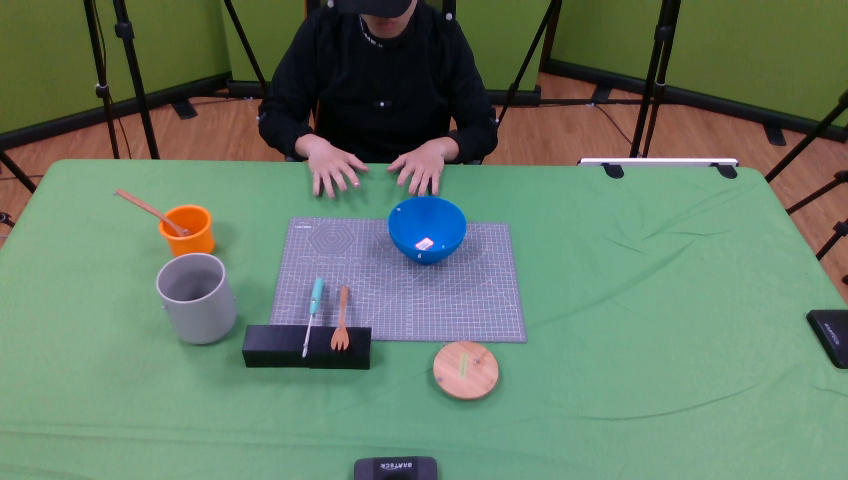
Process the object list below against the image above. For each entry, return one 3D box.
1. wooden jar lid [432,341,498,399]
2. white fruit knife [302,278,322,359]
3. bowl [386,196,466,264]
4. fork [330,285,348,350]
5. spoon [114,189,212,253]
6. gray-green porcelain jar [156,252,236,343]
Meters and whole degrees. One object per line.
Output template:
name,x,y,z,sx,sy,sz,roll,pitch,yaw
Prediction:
wooden jar lid,0.067,0.216,0.997,0.108,0.021,0.107,1,46,-1
white fruit knife,-0.189,0.126,1.020,0.016,0.027,0.206,0,33,-2
bowl,0.002,-0.007,1.162,0.151,0.077,0.150,3,46,-2
fork,-0.140,0.127,1.021,0.028,0.019,0.206,-5,28,-2
spoon,-0.475,-0.037,1.109,0.021,0.195,0.041,-29,34,32
gray-green porcelain jar,-0.371,0.100,0.999,0.106,0.127,0.105,2,46,-2
